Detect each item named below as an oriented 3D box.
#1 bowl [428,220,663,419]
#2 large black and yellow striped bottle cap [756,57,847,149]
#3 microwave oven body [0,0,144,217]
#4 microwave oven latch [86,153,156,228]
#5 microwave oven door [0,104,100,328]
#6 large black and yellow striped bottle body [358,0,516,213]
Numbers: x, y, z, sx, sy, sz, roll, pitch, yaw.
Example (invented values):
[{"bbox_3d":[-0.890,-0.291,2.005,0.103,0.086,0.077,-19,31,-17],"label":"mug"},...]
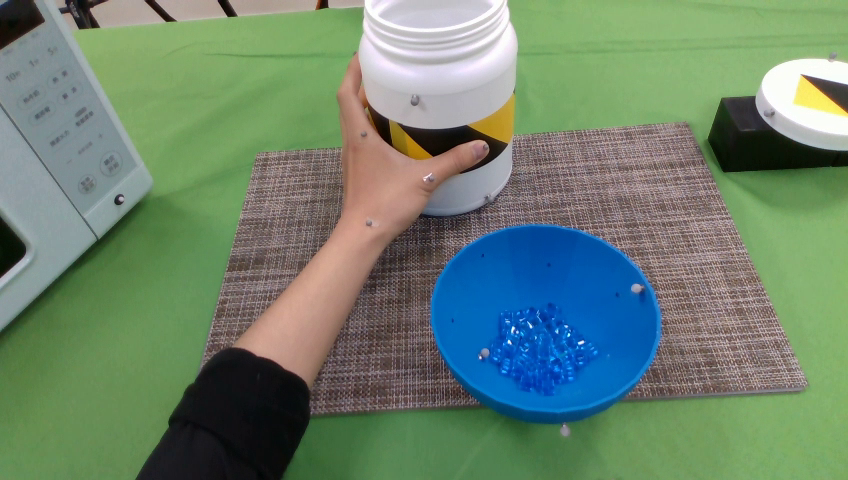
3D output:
[{"bbox_3d":[0.080,0.066,0.428,0.151,0.077,0.150,-3,49,4],"label":"bowl"},{"bbox_3d":[0.363,-0.126,0.544,0.115,0.019,0.114,-3,49,4],"label":"large black and yellow striped bottle cap"},{"bbox_3d":[-0.510,-0.032,0.448,0.324,0.263,0.439,19,55,20],"label":"microwave oven body"},{"bbox_3d":[-0.290,-0.049,0.570,0.030,0.030,0.079,21,55,21],"label":"microwave oven latch"},{"bbox_3d":[-0.399,0.037,0.372,0.039,0.246,0.354,18,54,20],"label":"microwave oven door"},{"bbox_3d":[0.014,-0.129,0.531,0.131,0.186,0.129,-3,49,3],"label":"large black and yellow striped bottle body"}]
